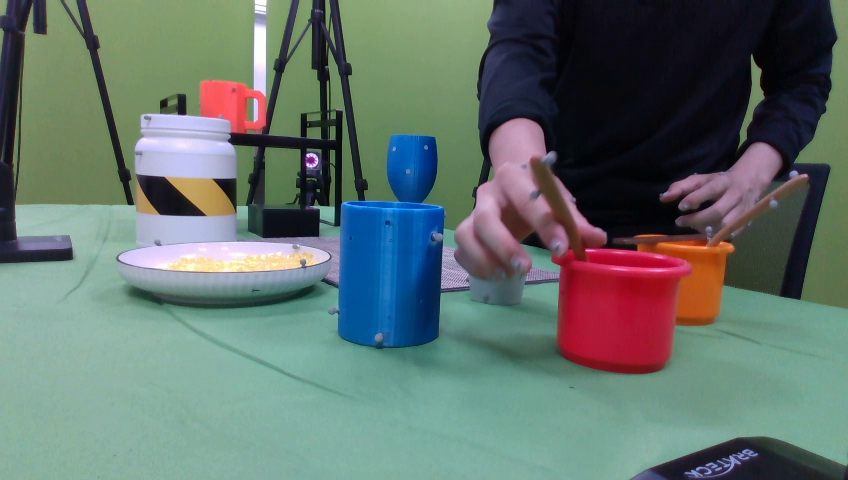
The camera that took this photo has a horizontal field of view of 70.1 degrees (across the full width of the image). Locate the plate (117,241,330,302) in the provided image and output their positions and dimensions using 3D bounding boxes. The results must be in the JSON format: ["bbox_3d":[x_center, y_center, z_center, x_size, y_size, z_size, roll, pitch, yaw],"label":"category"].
[{"bbox_3d":[-0.203,0.031,0.630,0.209,0.038,0.209,3,7,0],"label":"plate"}]

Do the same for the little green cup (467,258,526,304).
[{"bbox_3d":[0.074,0.042,0.626,0.061,0.038,0.061,4,7,0],"label":"little green cup"}]

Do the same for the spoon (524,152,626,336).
[{"bbox_3d":[0.105,0.011,0.426,0.041,0.194,0.021,15,55,45],"label":"spoon"}]

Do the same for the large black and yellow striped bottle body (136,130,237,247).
[{"bbox_3d":[-0.332,-0.076,0.851,0.131,0.184,0.130,3,8,0],"label":"large black and yellow striped bottle body"}]

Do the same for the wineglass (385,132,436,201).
[{"bbox_3d":[-0.020,-0.061,0.842,0.074,0.172,0.073,2,7,0],"label":"wineglass"}]

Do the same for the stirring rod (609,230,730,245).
[{"bbox_3d":[0.241,-0.003,0.582,0.177,0.006,0.014,-4,11,-33],"label":"stirring rod"}]

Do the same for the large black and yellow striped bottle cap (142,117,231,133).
[{"bbox_3d":[-0.328,-0.159,0.839,0.115,0.019,0.115,1,9,0],"label":"large black and yellow striped bottle cap"}]

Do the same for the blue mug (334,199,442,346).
[{"bbox_3d":[-0.034,0.020,0.498,0.083,0.106,0.116,0,7,-19],"label":"blue mug"}]

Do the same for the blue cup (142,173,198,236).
[{"bbox_3d":[-0.425,-0.060,1.014,0.093,0.100,0.092,4,9,0],"label":"blue cup"}]

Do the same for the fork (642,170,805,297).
[{"bbox_3d":[0.261,0.003,0.545,0.028,0.018,0.207,5,-37,-16],"label":"fork"}]

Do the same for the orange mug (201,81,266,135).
[{"bbox_3d":[-0.377,-0.260,1.197,0.126,0.101,0.083,-2,7,-6],"label":"orange mug"}]
